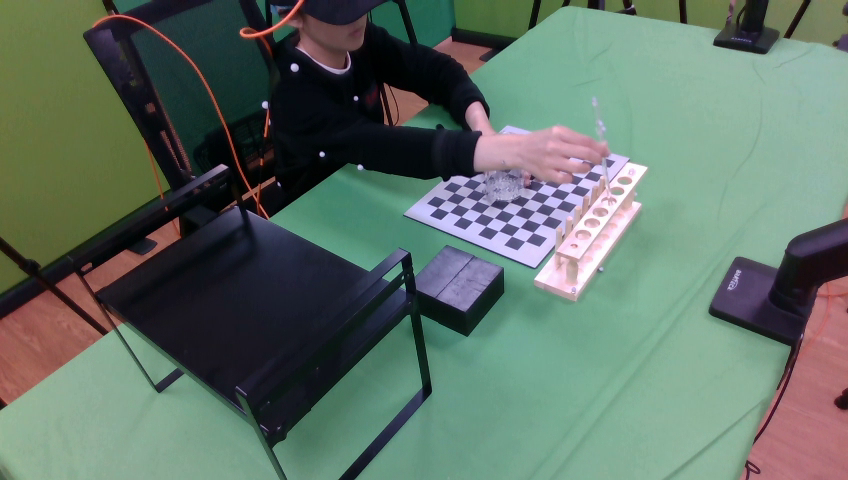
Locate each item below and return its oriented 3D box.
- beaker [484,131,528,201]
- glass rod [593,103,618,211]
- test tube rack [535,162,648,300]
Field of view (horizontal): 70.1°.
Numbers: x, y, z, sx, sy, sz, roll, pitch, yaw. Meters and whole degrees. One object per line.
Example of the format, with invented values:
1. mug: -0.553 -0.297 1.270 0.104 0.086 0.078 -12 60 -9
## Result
1. beaker: 0.143 -0.126 1.035 0.073 0.101 0.084 24 49 32
2. glass rod: 0.252 -0.108 0.834 0.008 0.201 0.008 -14 45 15
3. test tube rack: 0.257 -0.024 0.916 0.066 0.085 0.243 22 49 30
